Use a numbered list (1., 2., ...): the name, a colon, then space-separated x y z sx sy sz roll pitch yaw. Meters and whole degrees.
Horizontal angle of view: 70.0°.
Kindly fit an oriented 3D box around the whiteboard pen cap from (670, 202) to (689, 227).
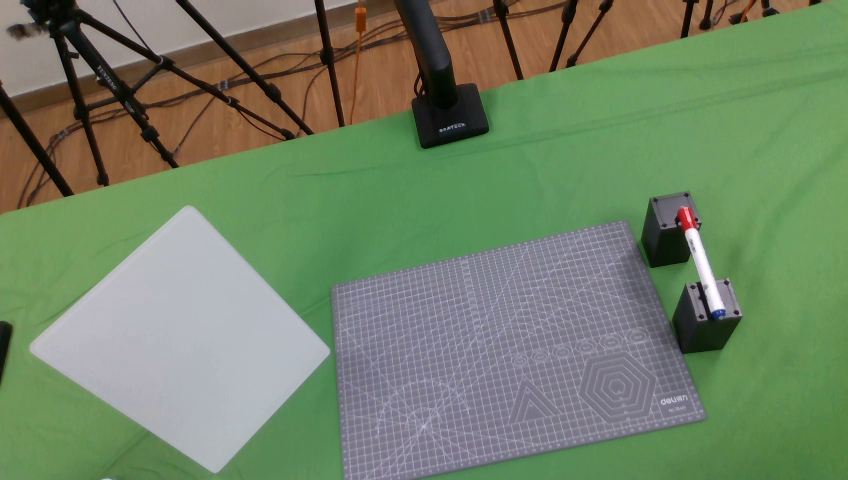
1. whiteboard pen cap: 0.317 -0.030 0.749 0.017 0.017 0.032 -7 59 8

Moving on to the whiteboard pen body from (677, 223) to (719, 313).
1. whiteboard pen body: 0.321 0.022 0.719 0.017 0.017 0.139 -9 57 6

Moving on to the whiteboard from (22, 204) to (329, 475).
1. whiteboard: -0.310 0.114 0.777 0.217 0.309 0.142 -47 42 -17
